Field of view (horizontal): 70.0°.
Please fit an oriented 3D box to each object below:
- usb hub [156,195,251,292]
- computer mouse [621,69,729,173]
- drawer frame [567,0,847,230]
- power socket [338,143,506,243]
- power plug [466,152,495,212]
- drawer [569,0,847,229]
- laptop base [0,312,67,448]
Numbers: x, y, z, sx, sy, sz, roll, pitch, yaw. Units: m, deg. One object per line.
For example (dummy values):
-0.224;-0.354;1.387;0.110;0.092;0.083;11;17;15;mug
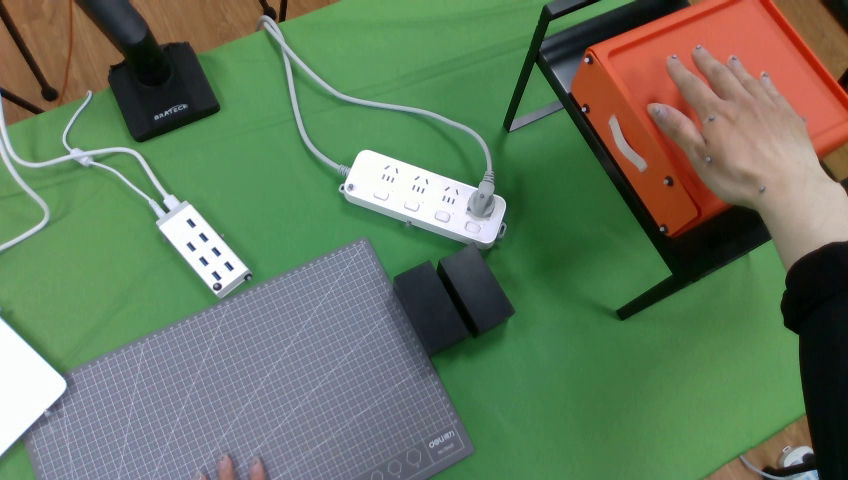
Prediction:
-0.276;0.004;0.757;0.049;0.025;0.124;-41;79;-14;usb hub
0.263;-0.128;0.634;0.063;0.041;0.116;-30;74;-8;computer mouse
0.293;-0.146;0.625;0.214;0.083;0.200;-26;75;-12;drawer frame
0.000;-0.061;0.793;0.226;0.033;0.072;20;71;3;power socket
0.081;-0.069;0.781;0.035;0.053;0.072;31;71;7;power plug
0.290;-0.143;0.625;0.212;0.073;0.193;-25;75;-12;drawer
-0.608;0.215;0.670;0.235;0.023;0.353;39;74;6;laptop base
